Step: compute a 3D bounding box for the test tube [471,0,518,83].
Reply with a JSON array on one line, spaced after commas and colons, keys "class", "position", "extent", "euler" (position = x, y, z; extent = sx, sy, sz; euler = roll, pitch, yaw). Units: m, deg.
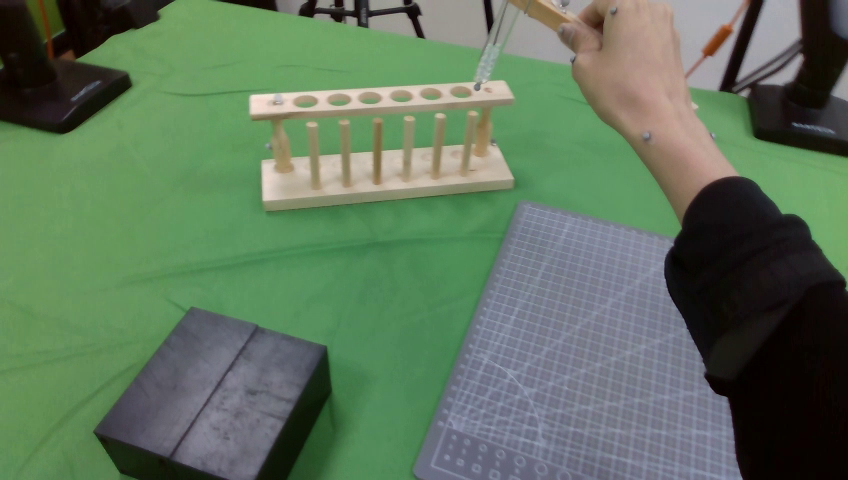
[{"class": "test tube", "position": [0.066, -0.182, 0.462], "extent": [0.017, 0.151, 0.017], "euler": [11, 49, -12]}]

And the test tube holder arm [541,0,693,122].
[{"class": "test tube holder arm", "position": [0.120, -0.145, 0.442], "extent": [0.177, 0.015, 0.013], "euler": [42, 50, 15]}]

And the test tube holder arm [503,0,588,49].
[{"class": "test tube holder arm", "position": [0.083, -0.170, 0.448], "extent": [0.087, 0.015, 0.010], "euler": [36, 48, 10]}]

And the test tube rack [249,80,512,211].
[{"class": "test tube rack", "position": [-0.036, -0.092, 0.580], "extent": [0.243, 0.086, 0.066], "euler": [-6, 44, -11]}]

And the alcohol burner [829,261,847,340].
[{"class": "alcohol burner", "position": [0.362, 0.030, 0.455], "extent": [0.078, 0.120, 0.077], "euler": [3, 42, -2]}]
